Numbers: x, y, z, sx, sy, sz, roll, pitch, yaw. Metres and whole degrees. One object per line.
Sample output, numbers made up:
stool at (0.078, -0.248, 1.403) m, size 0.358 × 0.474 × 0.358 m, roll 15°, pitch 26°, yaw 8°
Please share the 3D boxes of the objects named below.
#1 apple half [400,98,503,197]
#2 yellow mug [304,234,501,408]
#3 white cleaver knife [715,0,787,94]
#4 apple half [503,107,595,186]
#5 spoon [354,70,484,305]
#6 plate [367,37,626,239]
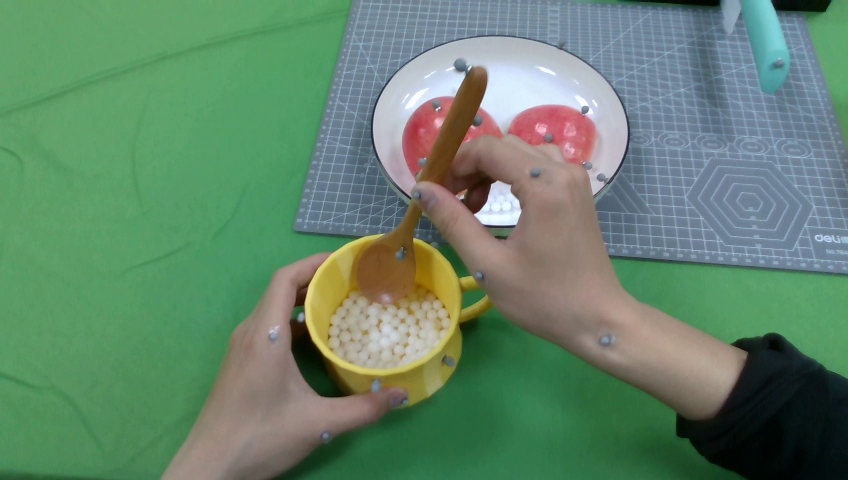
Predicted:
apple half at (0.021, -0.082, 0.483) m, size 0.081 × 0.054 × 0.074 m, roll -34°, pitch 60°, yaw -17°
yellow mug at (-0.010, 0.051, 0.408) m, size 0.131 × 0.064 × 0.099 m, roll -14°, pitch 60°, yaw -9°
white cleaver knife at (0.295, -0.234, 0.571) m, size 0.021 × 0.066 × 0.284 m, roll 3°, pitch 54°, yaw 9°
apple half at (0.102, -0.085, 0.493) m, size 0.081 × 0.033 × 0.080 m, roll -1°, pitch 61°, yaw 2°
spoon at (-0.004, -0.018, 0.349) m, size 0.041 × 0.194 × 0.021 m, roll 29°, pitch 51°, yaw 0°
plate at (0.058, -0.085, 0.503) m, size 0.209 × 0.038 × 0.207 m, roll -1°, pitch 59°, yaw 1°
